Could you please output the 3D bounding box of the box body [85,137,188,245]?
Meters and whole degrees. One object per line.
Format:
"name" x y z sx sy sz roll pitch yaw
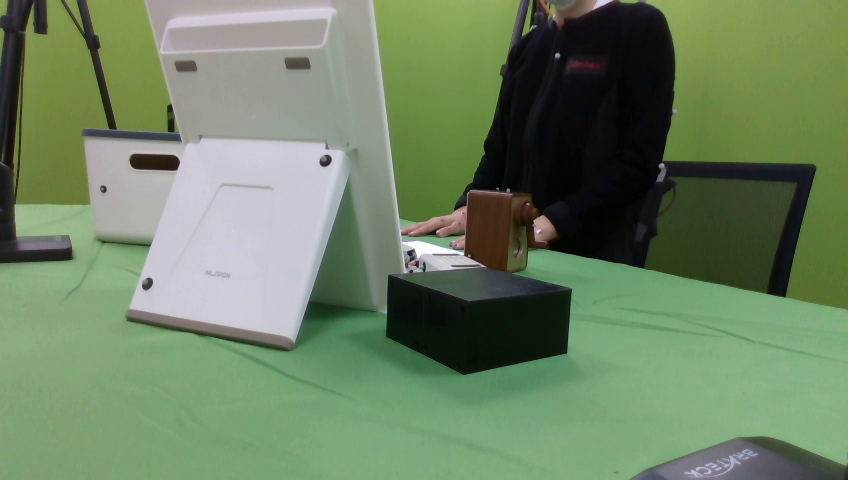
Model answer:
"box body" -0.340 -0.088 1.022 0.254 0.160 0.364 4 7 11

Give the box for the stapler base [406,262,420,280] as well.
"stapler base" -0.069 0.027 0.759 0.130 0.024 0.041 9 13 23

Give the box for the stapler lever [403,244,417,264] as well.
"stapler lever" -0.066 0.003 0.755 0.117 0.040 0.027 9 13 23

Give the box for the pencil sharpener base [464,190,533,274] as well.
"pencil sharpener base" 0.102 -0.012 0.812 0.076 0.107 0.061 8 9 36

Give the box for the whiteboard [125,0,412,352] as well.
"whiteboard" -0.151 -0.050 0.471 0.216 0.305 0.144 6 27 24

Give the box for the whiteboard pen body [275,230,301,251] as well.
"whiteboard pen body" -0.203 0.002 0.894 0.017 0.017 0.140 2 9 -1

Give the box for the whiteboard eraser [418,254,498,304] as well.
"whiteboard eraser" 0.033 0.040 0.631 0.056 0.042 0.112 3 6 -15

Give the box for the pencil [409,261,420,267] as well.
"pencil" 0.041 0.028 0.848 0.012 0.012 0.195 10 10 43

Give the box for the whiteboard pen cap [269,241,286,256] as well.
"whiteboard pen cap" -0.202 0.012 0.836 0.018 0.018 0.033 2 9 -1

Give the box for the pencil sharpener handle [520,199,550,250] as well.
"pencil sharpener handle" 0.147 -0.019 0.785 0.030 0.068 0.036 8 25 36

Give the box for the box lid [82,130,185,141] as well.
"box lid" -0.337 -0.161 1.011 0.263 0.015 0.372 4 7 11
